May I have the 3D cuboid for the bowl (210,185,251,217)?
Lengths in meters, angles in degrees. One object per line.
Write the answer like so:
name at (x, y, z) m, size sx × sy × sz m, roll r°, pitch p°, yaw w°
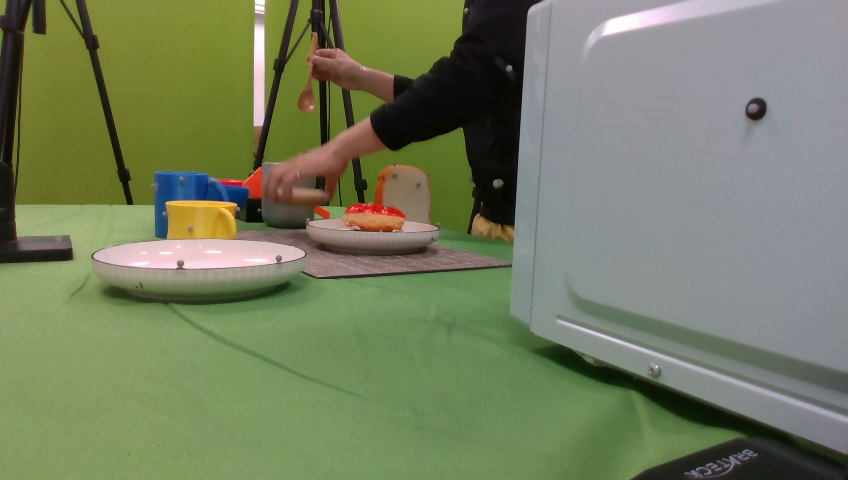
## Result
bowl at (-0.408, -0.064, 1.154) m, size 0.151 × 0.077 × 0.151 m, roll 2°, pitch 8°, yaw 0°

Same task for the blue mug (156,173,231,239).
blue mug at (-0.381, -0.057, 1.004) m, size 0.117 × 0.106 × 0.082 m, roll 0°, pitch 8°, yaw -12°

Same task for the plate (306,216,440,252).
plate at (-0.079, -0.011, 0.950) m, size 0.209 × 0.038 × 0.209 m, roll 2°, pitch 8°, yaw 0°

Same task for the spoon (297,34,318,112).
spoon at (-0.262, -0.388, 1.403) m, size 0.042 × 0.193 × 0.021 m, roll 8°, pitch -5°, yaw -8°

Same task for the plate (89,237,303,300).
plate at (-0.233, 0.029, 0.637) m, size 0.208 × 0.039 × 0.207 m, roll 2°, pitch 7°, yaw 0°

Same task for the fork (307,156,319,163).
fork at (-0.331, -0.144, 1.505) m, size 0.207 × 0.018 × 0.028 m, roll -42°, pitch -19°, yaw 22°

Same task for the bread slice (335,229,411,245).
bread slice at (-0.074, -0.005, 0.938) m, size 0.105 × 0.019 × 0.131 m, roll -1°, pitch 4°, yaw -19°

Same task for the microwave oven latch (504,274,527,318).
microwave oven latch at (0.100, 0.041, 0.471) m, size 0.079 × 0.029 × 0.030 m, roll -1°, pitch 8°, yaw -28°

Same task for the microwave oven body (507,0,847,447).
microwave oven body at (0.331, -0.042, 0.425) m, size 0.444 × 0.260 × 0.324 m, roll -2°, pitch 8°, yaw -31°

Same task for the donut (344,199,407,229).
donut at (-0.076, -0.039, 0.949) m, size 0.099 × 0.048 × 0.099 m, roll 3°, pitch 4°, yaw 0°

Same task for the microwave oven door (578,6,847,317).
microwave oven door at (0.294, -0.067, 0.570) m, size 0.358 × 0.243 × 0.039 m, roll -3°, pitch 9°, yaw -31°

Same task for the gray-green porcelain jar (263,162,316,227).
gray-green porcelain jar at (-0.271, -0.092, 1.217) m, size 0.106 × 0.126 × 0.106 m, roll 2°, pitch 7°, yaw 0°

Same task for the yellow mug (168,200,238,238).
yellow mug at (-0.320, -0.023, 0.904) m, size 0.130 × 0.064 × 0.100 m, roll 9°, pitch 10°, yaw 36°

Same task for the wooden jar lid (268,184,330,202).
wooden jar lid at (-0.222, -0.084, 1.076) m, size 0.108 × 0.020 × 0.108 m, roll 6°, pitch 11°, yaw -1°

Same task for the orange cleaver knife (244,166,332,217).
orange cleaver knife at (-0.301, -0.089, 1.351) m, size 0.212 × 0.077 × 0.012 m, roll 32°, pitch -11°, yaw -34°

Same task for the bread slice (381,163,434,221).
bread slice at (-0.034, -0.076, 1.122) m, size 0.107 × 0.134 × 0.018 m, roll -3°, pitch -1°, yaw -26°
